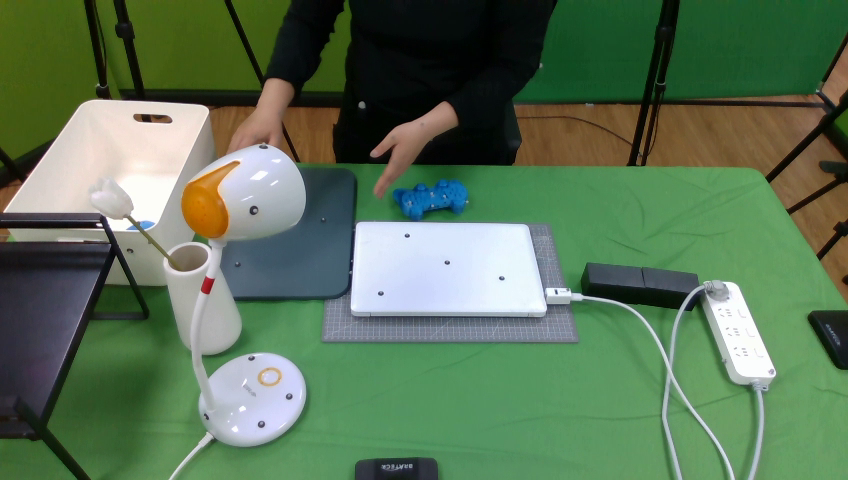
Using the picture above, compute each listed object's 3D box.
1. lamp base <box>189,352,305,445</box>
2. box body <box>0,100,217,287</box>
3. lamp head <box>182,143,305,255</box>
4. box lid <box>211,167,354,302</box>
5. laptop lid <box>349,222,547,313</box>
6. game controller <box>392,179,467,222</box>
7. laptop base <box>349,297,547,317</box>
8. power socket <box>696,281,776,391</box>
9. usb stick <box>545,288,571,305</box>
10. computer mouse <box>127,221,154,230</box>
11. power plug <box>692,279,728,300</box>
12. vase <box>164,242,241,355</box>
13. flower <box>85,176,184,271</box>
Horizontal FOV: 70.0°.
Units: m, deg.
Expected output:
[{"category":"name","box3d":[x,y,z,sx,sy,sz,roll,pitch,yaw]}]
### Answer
[{"category":"lamp base","box3d":[-0.268,0.196,0.876,0.160,0.181,0.179,26,52,20]},{"category":"box body","box3d":[-0.560,-0.092,1.145,0.254,0.161,0.361,3,46,-2]},{"category":"lamp head","box3d":[-0.216,-0.044,0.697,0.112,0.113,0.123,23,31,17]},{"category":"box lid","box3d":[-0.276,-0.024,1.205,0.263,0.015,0.369,0,46,-4]},{"category":"laptop lid","box3d":[0.041,0.046,1.143,0.357,0.013,0.240,2,44,-3]},{"category":"game controller","box3d":[0.016,-0.093,1.273,0.155,0.052,0.096,-11,53,-14]},{"category":"laptop base","box3d":[0.041,0.055,1.149,0.355,0.023,0.234,1,42,-4]},{"category":"power socket","box3d":[0.550,0.160,1.078,0.072,0.033,0.225,2,46,-1]},{"category":"usb stick","box3d":[0.236,0.102,1.101,0.059,0.027,0.021,-2,46,1]},{"category":"computer mouse","box3d":[-0.537,0.009,1.127,0.062,0.041,0.117,31,55,21]},{"category":"power plug","box3d":[0.522,0.091,1.116,0.072,0.053,0.035,10,47,8]},{"category":"vase","box3d":[-0.349,0.096,0.954,0.098,0.201,0.097,3,47,-3]},{"category":"flower","box3d":[-0.365,0.038,0.894,0.038,0.364,0.044,-5,53,14]}]
